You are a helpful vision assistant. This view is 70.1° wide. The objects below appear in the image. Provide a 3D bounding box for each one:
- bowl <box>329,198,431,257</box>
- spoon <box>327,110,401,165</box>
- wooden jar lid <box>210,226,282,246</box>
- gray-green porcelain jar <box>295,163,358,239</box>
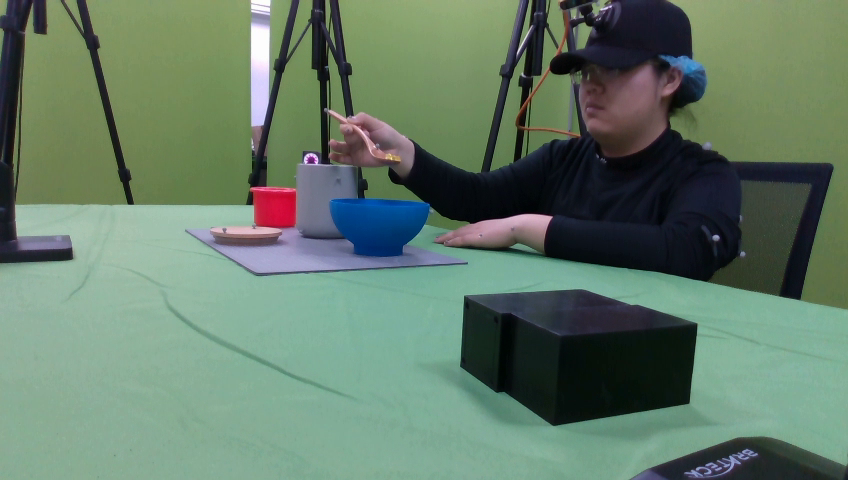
[{"bbox_3d":[-0.067,-0.019,0.895,0.151,0.077,0.151,3,7,0],"label":"bowl"},{"bbox_3d":[-0.100,-0.165,0.956,0.042,0.021,0.193,-1,37,-44],"label":"spoon"},{"bbox_3d":[-0.279,-0.007,0.951,0.108,0.020,0.108,2,8,0],"label":"wooden jar lid"},{"bbox_3d":[-0.170,-0.069,1.054,0.106,0.126,0.106,3,7,0],"label":"gray-green porcelain jar"}]
